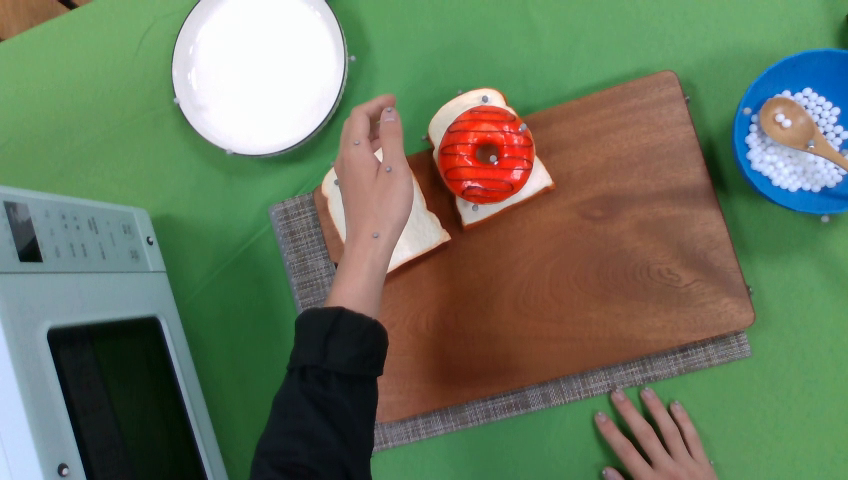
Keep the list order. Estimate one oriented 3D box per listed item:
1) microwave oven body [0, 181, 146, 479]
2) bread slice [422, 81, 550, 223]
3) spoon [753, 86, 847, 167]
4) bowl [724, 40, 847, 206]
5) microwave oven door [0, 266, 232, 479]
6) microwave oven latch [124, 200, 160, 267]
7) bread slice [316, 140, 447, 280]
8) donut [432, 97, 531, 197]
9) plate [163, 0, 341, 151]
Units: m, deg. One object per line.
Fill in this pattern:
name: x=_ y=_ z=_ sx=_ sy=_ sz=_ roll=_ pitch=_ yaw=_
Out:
microwave oven body: x=-0.427 y=0.207 z=0.605 sx=0.326 sy=0.261 sz=0.441 roll=-20 pitch=86 yaw=8
bread slice: x=0.055 y=-0.097 z=0.629 sx=0.105 sy=0.019 sz=0.131 roll=-27 pitch=84 yaw=7
spoon: x=0.378 y=-0.071 z=0.543 sx=0.041 sy=0.022 sz=0.192 roll=-44 pitch=65 yaw=11
bowl: x=0.357 y=-0.104 z=0.579 sx=0.151 sy=0.077 sz=0.151 roll=0 pitch=89 yaw=9
microwave oven door: x=-0.278 y=0.198 z=0.576 sx=0.039 sy=0.244 sz=0.355 roll=-20 pitch=86 yaw=9
microwave oven latch: x=-0.330 y=-0.006 z=0.691 sx=0.030 sy=0.029 sz=0.079 roll=-19 pitch=87 yaw=8
bread slice: x=-0.054 y=-0.037 z=0.645 sx=0.107 sy=0.018 sz=0.134 roll=-31 pitch=83 yaw=7
donut: x=0.057 y=-0.092 z=0.599 sx=0.099 sy=0.048 sz=0.099 roll=0 pitch=89 yaw=9
plate: x=-0.192 y=-0.203 z=0.690 sx=0.207 sy=0.039 sz=0.207 roll=0 pitch=89 yaw=9
